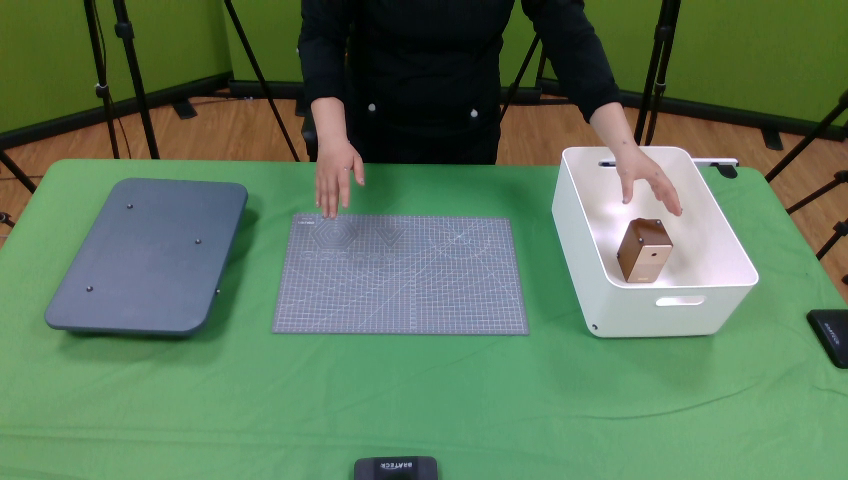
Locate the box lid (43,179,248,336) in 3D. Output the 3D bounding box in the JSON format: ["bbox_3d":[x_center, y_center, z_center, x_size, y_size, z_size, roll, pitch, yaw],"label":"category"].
[{"bbox_3d":[-0.484,0.017,1.093,0.263,0.015,0.369,2,46,-2],"label":"box lid"}]

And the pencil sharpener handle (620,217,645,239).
[{"bbox_3d":[0.404,-0.026,1.165,0.036,0.068,0.030,17,42,-21],"label":"pencil sharpener handle"}]

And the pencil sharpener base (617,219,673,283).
[{"bbox_3d":[0.413,0.020,1.140,0.061,0.107,0.076,-1,46,-4],"label":"pencil sharpener base"}]

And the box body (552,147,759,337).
[{"bbox_3d":[0.400,-0.001,1.131,0.254,0.161,0.361,-1,46,-5],"label":"box body"}]
